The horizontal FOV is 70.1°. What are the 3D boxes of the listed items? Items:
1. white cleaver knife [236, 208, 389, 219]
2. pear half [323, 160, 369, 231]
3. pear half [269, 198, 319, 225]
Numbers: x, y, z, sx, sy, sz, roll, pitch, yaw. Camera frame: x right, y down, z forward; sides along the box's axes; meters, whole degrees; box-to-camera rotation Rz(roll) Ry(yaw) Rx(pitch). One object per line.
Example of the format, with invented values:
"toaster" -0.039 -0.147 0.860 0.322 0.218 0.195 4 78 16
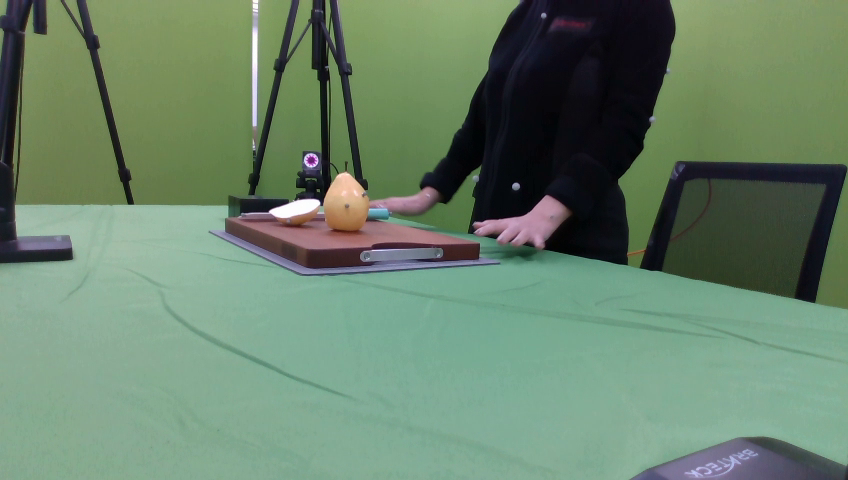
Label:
"white cleaver knife" -0.194 -0.049 1.104 0.288 0.021 0.065 -1 -3 -32
"pear half" -0.113 -0.068 0.938 0.056 0.110 0.076 6 12 27
"pear half" -0.212 -0.042 0.995 0.088 0.031 0.070 -9 19 20
